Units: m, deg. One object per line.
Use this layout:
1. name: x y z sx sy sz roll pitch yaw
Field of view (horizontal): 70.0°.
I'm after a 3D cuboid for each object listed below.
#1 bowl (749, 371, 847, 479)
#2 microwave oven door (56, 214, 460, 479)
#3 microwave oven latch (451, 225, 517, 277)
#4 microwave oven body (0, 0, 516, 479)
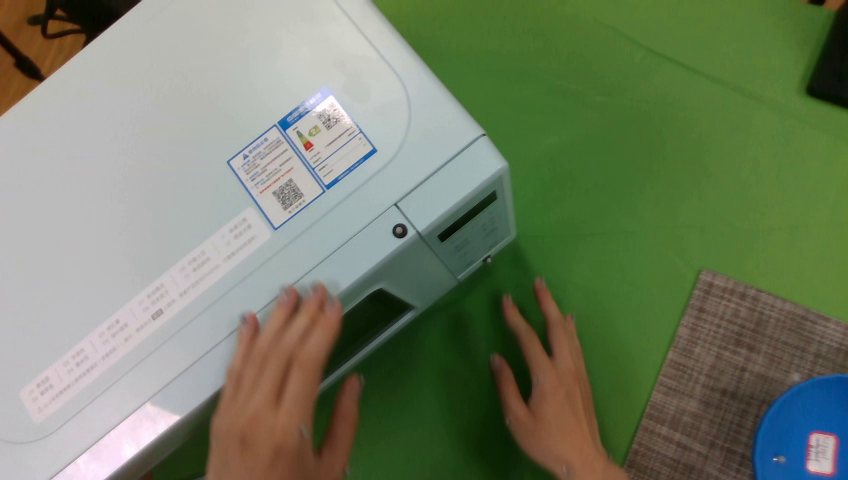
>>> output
1. bowl: 0.356 0.191 0.531 0.151 0.077 0.150 -2 78 10
2. microwave oven door: -0.131 0.119 0.529 0.356 0.245 0.039 -39 74 0
3. microwave oven latch: 0.059 0.003 0.625 0.079 0.029 0.030 -37 75 2
4. microwave oven body: -0.185 -0.017 0.571 0.441 0.261 0.324 -39 75 1
